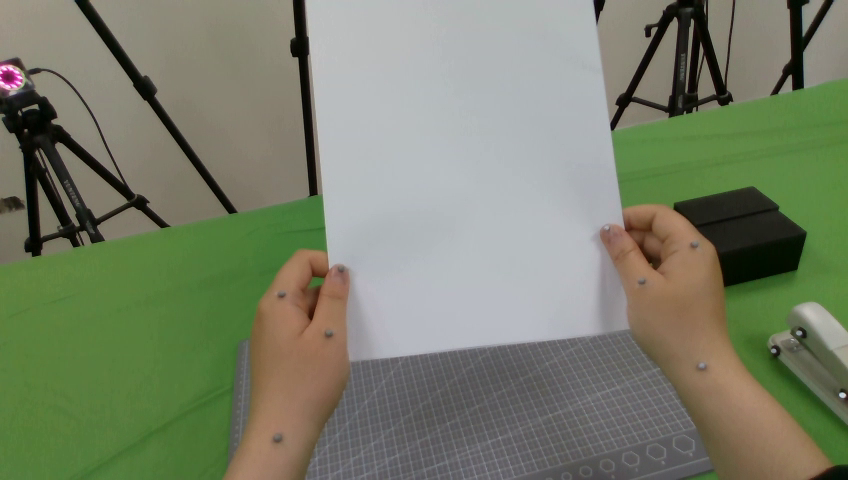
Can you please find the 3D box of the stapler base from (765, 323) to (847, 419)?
[{"bbox_3d":[0.357,0.113,0.529,0.041,0.024,0.129,-16,37,-6],"label":"stapler base"}]

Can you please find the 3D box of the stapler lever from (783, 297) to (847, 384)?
[{"bbox_3d":[0.355,0.094,0.514,0.027,0.040,0.117,-16,35,-6],"label":"stapler lever"}]
